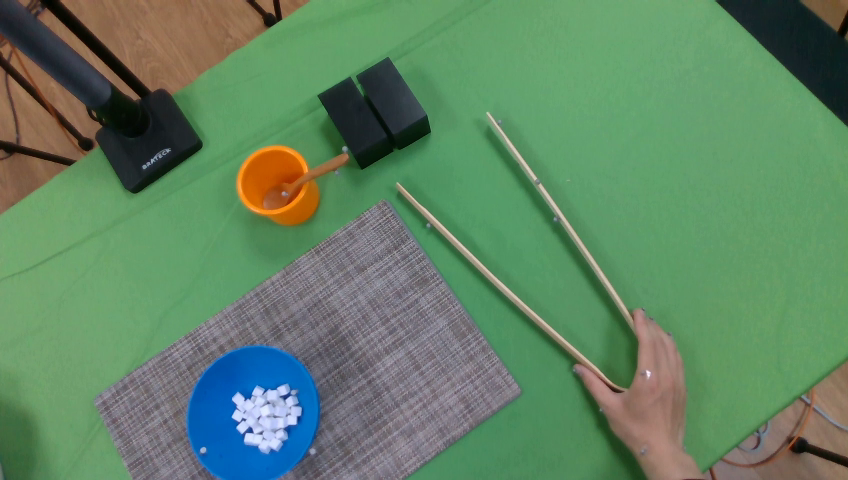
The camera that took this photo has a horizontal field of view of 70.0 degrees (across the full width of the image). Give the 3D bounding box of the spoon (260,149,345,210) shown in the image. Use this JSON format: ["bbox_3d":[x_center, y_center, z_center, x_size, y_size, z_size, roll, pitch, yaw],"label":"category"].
[{"bbox_3d":[-0.152,-0.074,0.735,0.022,0.193,0.041,14,69,-35],"label":"spoon"}]

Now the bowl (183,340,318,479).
[{"bbox_3d":[-0.188,0.195,0.703,0.151,0.077,0.150,-1,76,6],"label":"bowl"}]

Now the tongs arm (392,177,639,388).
[{"bbox_3d":[0.099,0.048,0.739,0.385,0.028,0.028,43,81,14],"label":"tongs arm"}]

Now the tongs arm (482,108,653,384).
[{"bbox_3d":[0.163,-0.002,0.741,0.051,0.026,0.382,-33,76,-2],"label":"tongs arm"}]
